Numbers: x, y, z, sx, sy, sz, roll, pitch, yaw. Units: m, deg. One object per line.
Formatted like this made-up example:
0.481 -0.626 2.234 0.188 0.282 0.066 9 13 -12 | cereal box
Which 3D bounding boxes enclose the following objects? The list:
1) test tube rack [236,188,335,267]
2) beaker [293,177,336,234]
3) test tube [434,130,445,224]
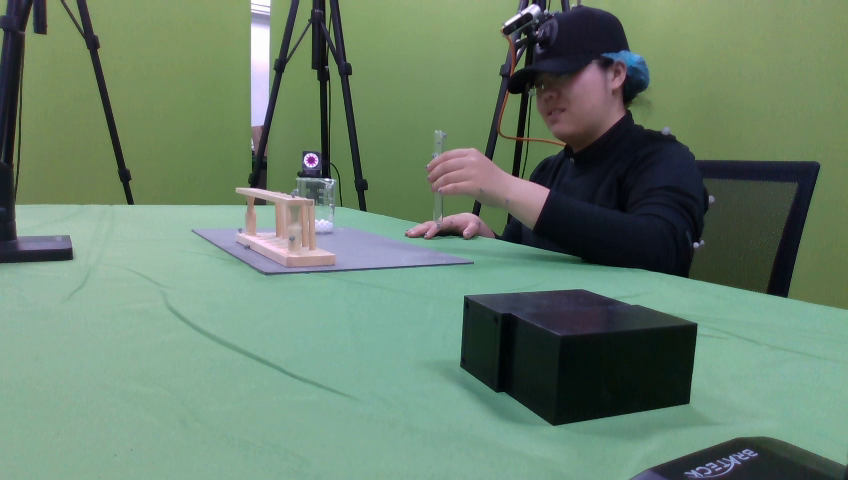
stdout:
-0.202 -0.024 0.855 0.067 0.085 0.241 -2 9 -31 | test tube rack
-0.197 -0.063 1.107 0.083 0.100 0.074 10 11 40 | beaker
0.024 -0.100 0.959 0.017 0.150 0.017 1 -2 0 | test tube
